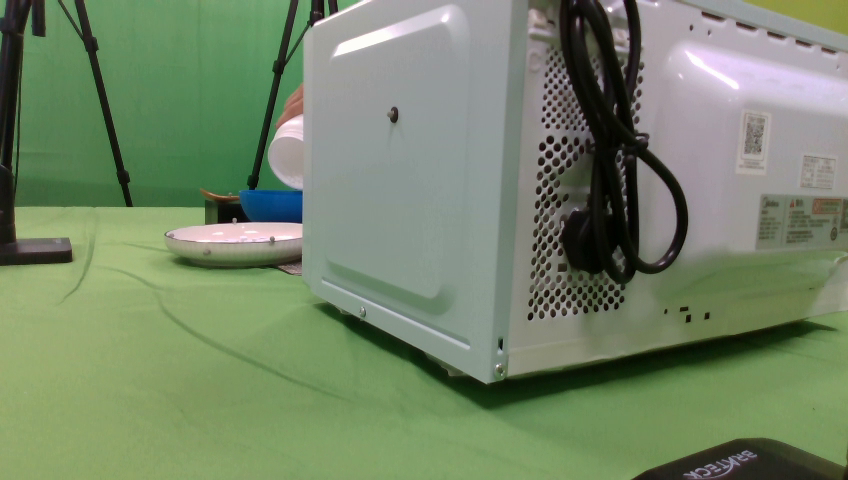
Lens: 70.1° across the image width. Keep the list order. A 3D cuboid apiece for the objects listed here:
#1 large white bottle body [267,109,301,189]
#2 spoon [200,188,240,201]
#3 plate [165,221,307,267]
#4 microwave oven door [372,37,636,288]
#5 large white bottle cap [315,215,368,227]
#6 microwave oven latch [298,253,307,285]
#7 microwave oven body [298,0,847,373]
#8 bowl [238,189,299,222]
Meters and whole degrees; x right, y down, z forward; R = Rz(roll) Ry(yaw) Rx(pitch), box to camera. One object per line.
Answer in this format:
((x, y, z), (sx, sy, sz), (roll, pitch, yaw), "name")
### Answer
((-0.205, -0.186, 1.150), (0.130, 0.131, 0.185), (5, 35, 18), "large white bottle body")
((-0.338, -0.080, 1.190), (0.194, 0.021, 0.041), (5, 3, -19), "spoon")
((-0.241, 0.004, 0.829), (0.209, 0.038, 0.209), (0, 9, 0), "plate")
((0.110, -0.080, 0.686), (0.358, 0.243, 0.039), (-2, 9, -33), "microwave oven door")
((-0.177, -0.041, 1.309), (0.115, 0.018, 0.115), (2, 6, 0), "large white bottle cap")
((-0.081, 0.027, 0.582), (0.079, 0.029, 0.030), (-1, 7, -32), "microwave oven latch")
((0.151, -0.055, 0.542), (0.444, 0.260, 0.324), (-2, 7, -33), "microwave oven body")
((-0.245, -0.046, 1.052), (0.151, 0.077, 0.151), (2, 8, 0), "bowl")
